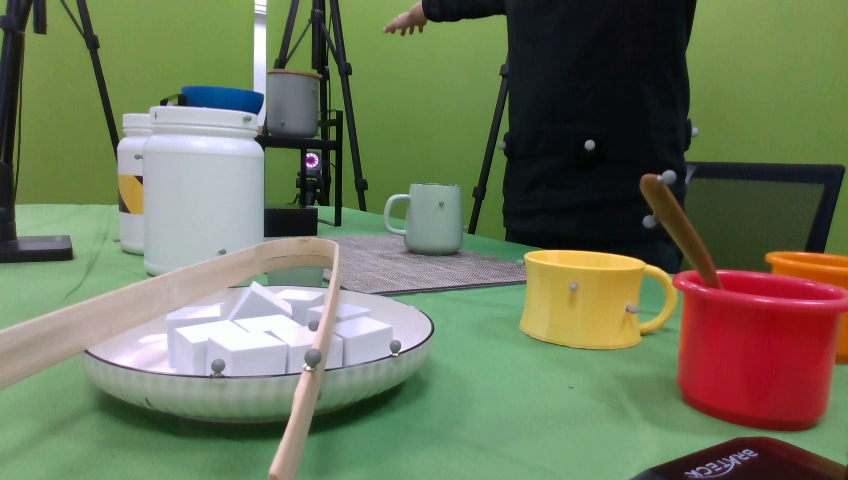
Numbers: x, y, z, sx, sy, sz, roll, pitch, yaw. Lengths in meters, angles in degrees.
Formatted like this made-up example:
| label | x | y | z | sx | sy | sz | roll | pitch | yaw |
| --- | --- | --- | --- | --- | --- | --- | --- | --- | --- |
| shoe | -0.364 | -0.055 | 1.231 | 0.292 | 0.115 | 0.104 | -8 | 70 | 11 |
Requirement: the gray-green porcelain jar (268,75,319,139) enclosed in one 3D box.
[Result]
| label | x | y | z | sx | sy | sz | roll | pitch | yaw |
| --- | --- | --- | --- | --- | --- | --- | --- | --- | --- |
| gray-green porcelain jar | -0.277 | -0.279 | 1.280 | 0.106 | 0.126 | 0.106 | 2 | 8 | 0 |

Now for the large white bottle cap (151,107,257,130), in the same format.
| label | x | y | z | sx | sy | sz | roll | pitch | yaw |
| --- | --- | --- | --- | --- | --- | --- | --- | --- | --- |
| large white bottle cap | -0.250 | -0.138 | 0.692 | 0.115 | 0.018 | 0.115 | 3 | 7 | 0 |

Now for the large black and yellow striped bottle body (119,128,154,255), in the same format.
| label | x | y | z | sx | sy | sz | roll | pitch | yaw |
| --- | --- | --- | --- | --- | --- | --- | --- | --- | --- |
| large black and yellow striped bottle body | -0.355 | -0.076 | 0.850 | 0.131 | 0.184 | 0.130 | 2 | 8 | 0 |

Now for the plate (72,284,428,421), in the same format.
| label | x | y | z | sx | sy | sz | roll | pitch | yaw |
| --- | --- | --- | --- | --- | --- | --- | --- | --- | --- |
| plate | -0.102 | 0.067 | 0.381 | 0.208 | 0.039 | 0.207 | 3 | 7 | 0 |

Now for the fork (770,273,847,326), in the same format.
| label | x | y | z | sx | sy | sz | roll | pitch | yaw |
| --- | --- | --- | --- | --- | --- | --- | --- | --- | --- |
| fork | 0.332 | 0.018 | 0.443 | 0.028 | 0.018 | 0.207 | -3 | -35 | -18 |

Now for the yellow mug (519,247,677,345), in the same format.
| label | x | y | z | sx | sy | sz | roll | pitch | yaw |
| --- | --- | --- | --- | --- | --- | --- | --- | --- | --- |
| yellow mug | 0.148 | 0.045 | 0.513 | 0.131 | 0.064 | 0.100 | 3 | 6 | 0 |

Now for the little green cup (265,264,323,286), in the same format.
| label | x | y | z | sx | sy | sz | roll | pitch | yaw |
| --- | --- | --- | --- | --- | --- | --- | --- | --- | --- |
| little green cup | -0.134 | 0.033 | 0.628 | 0.061 | 0.038 | 0.061 | 3 | 7 | 0 |

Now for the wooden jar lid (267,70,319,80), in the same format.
| label | x | y | z | sx | sy | sz | roll | pitch | yaw |
| --- | --- | --- | --- | --- | --- | --- | --- | --- | --- |
| wooden jar lid | -0.275 | -0.340 | 1.271 | 0.108 | 0.020 | 0.108 | 5 | 6 | 0 |

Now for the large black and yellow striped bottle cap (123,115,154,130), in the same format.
| label | x | y | z | sx | sy | sz | roll | pitch | yaw |
| --- | --- | --- | --- | --- | --- | --- | --- | --- | --- |
| large black and yellow striped bottle cap | -0.353 | -0.159 | 0.838 | 0.115 | 0.019 | 0.115 | 2 | 6 | 0 |

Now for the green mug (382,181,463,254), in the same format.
| label | x | y | z | sx | sy | sz | roll | pitch | yaw |
| --- | --- | --- | --- | --- | --- | --- | --- | --- | --- |
| green mug | -0.001 | -0.036 | 0.922 | 0.126 | 0.105 | 0.092 | 0 | 8 | -16 |

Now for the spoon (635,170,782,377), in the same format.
| label | x | y | z | sx | sy | sz | roll | pitch | yaw |
| --- | --- | --- | --- | --- | --- | --- | --- | --- | --- |
| spoon | 0.161 | 0.026 | 0.346 | 0.021 | 0.194 | 0.041 | -51 | 32 | -20 |

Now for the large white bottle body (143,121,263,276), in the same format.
| label | x | y | z | sx | sy | sz | roll | pitch | yaw |
| --- | --- | --- | --- | --- | --- | --- | --- | --- | --- |
| large white bottle body | -0.254 | -0.054 | 0.702 | 0.131 | 0.184 | 0.130 | 2 | 8 | 0 |

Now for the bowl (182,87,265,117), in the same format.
| label | x | y | z | sx | sy | sz | roll | pitch | yaw |
| --- | --- | --- | --- | --- | --- | --- | --- | --- | --- |
| bowl | -0.383 | -0.244 | 1.158 | 0.151 | 0.077 | 0.151 | 2 | 7 | 0 |

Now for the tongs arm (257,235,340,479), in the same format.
| label | x | y | z | sx | sy | sz | roll | pitch | yaw |
| --- | --- | --- | --- | --- | --- | --- | --- | --- | --- |
| tongs arm | -0.074 | 0.040 | 0.345 | 0.051 | 0.026 | 0.384 | -1 | 10 | -3 |

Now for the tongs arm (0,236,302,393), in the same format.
| label | x | y | z | sx | sy | sz | roll | pitch | yaw |
| --- | --- | --- | --- | --- | --- | --- | --- | --- | --- |
| tongs arm | -0.157 | 0.038 | 0.347 | 0.028 | 0.028 | 0.388 | -3 | 8 | 11 |

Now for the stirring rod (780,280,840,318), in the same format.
| label | x | y | z | sx | sy | sz | roll | pitch | yaw |
| --- | --- | --- | --- | --- | --- | --- | --- | --- | --- |
| stirring rod | 0.343 | 0.019 | 0.460 | 0.014 | 0.006 | 0.176 | -11 | -28 | -29 |
